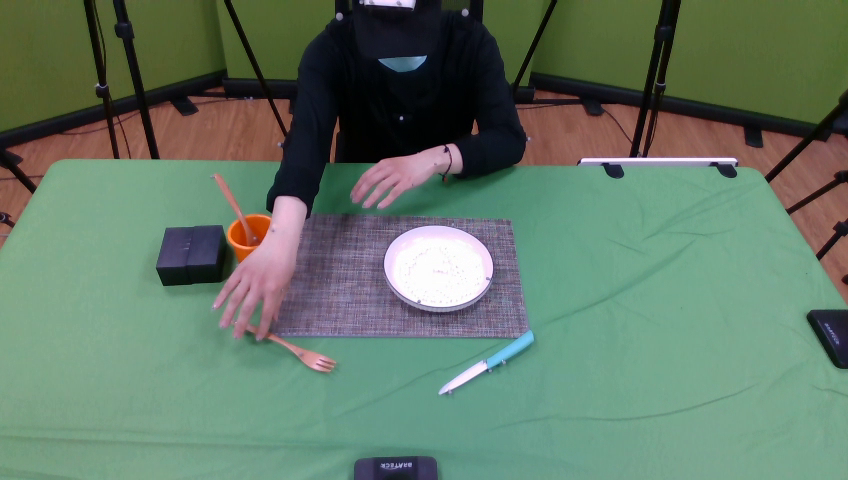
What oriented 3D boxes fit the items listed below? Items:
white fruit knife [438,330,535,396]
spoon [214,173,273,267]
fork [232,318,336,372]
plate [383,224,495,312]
[{"bbox_3d":[0.108,0.206,1.009,0.207,0.016,0.027,-27,30,-22],"label":"white fruit knife"},{"bbox_3d":[-0.336,-0.037,1.121,0.041,0.021,0.194,-30,100,-30],"label":"spoon"},{"bbox_3d":[-0.238,0.173,1.014,0.207,0.019,0.028,23,53,16],"label":"fork"},{"bbox_3d":[0.026,0.055,1.128,0.209,0.038,0.208,2,46,-2],"label":"plate"}]
